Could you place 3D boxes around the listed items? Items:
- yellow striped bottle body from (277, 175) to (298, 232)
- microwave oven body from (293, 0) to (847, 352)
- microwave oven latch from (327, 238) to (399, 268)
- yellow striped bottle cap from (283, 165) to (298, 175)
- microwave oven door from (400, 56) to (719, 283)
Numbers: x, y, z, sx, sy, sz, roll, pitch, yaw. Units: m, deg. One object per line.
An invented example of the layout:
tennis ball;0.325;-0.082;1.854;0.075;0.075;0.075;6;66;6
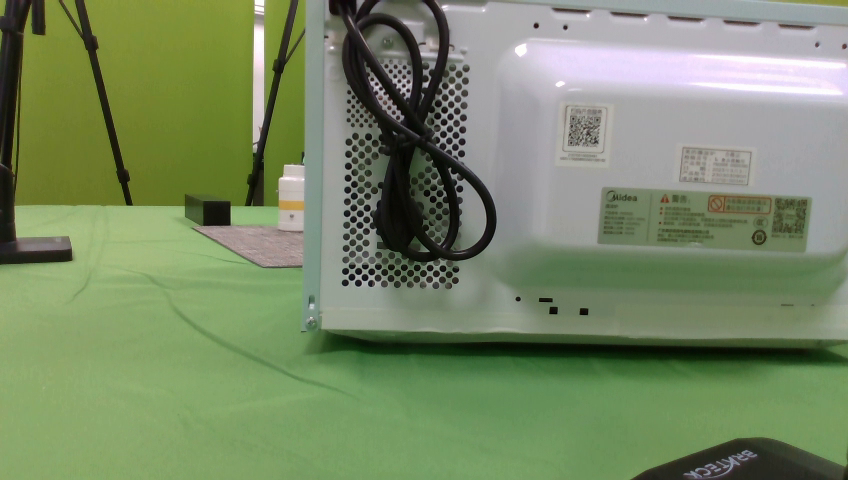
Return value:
yellow striped bottle body;-0.242;-0.078;1.130;0.063;0.120;0.063;2;8;0
microwave oven body;0.122;-0.055;0.550;0.442;0.260;0.325;3;7;-5
microwave oven latch;-0.069;0.015;0.694;0.079;0.029;0.030;3;7;-3
yellow striped bottle cap;-0.240;-0.129;1.124;0.044;0.018;0.044;5;7;0
microwave oven door;0.155;-0.078;0.698;0.356;0.243;0.039;2;8;-5
